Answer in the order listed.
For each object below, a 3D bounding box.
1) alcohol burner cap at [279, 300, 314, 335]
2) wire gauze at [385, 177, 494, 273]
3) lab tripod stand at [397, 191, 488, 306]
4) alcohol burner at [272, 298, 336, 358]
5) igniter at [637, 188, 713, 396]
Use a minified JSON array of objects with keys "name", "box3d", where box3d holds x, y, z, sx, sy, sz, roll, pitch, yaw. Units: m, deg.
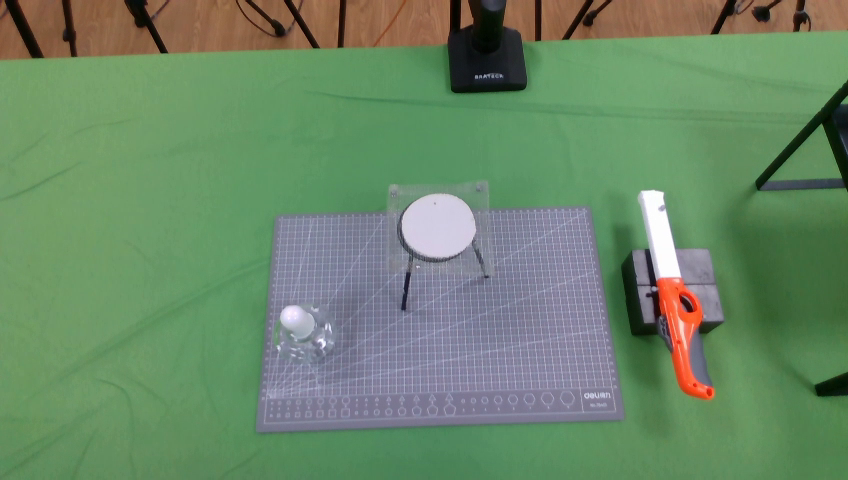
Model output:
[{"name":"alcohol burner cap","box3d":[-0.150,0.087,0.699,0.034,0.048,0.033,-3,65,7]},{"name":"wire gauze","box3d":[0.017,-0.020,0.702,0.125,0.011,0.120,1,65,1]},{"name":"lab tripod stand","box3d":[0.011,0.005,0.765,0.148,0.132,0.147,-1,65,2]},{"name":"alcohol burner","box3d":[-0.148,0.102,0.731,0.078,0.120,0.077,0,67,1]},{"name":"igniter","box3d":[0.308,0.056,0.753,0.057,0.025,0.274,-1,63,-3]}]
